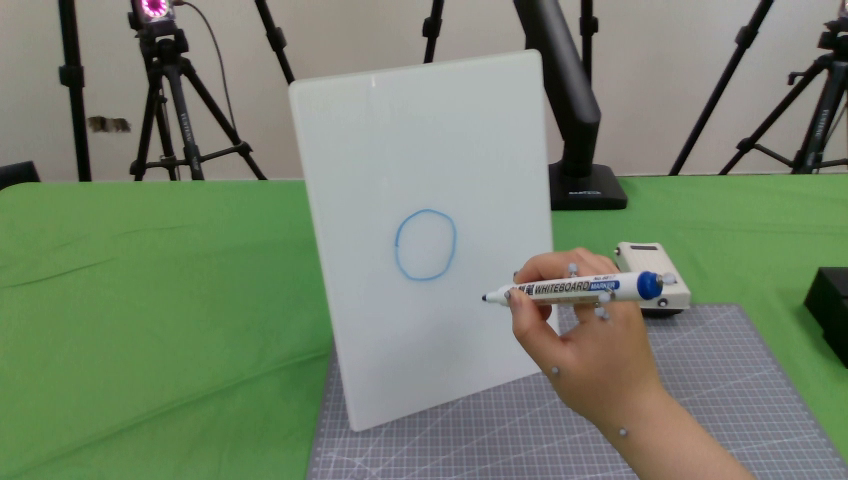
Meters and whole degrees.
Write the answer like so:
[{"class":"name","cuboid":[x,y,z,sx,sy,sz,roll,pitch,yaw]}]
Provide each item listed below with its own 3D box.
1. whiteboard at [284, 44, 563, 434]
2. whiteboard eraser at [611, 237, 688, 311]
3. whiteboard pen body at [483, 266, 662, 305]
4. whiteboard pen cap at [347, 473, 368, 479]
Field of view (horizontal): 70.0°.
[{"class":"whiteboard","cuboid":[-0.006,-0.013,0.583,0.218,0.307,0.142,-13,17,-18]},{"class":"whiteboard eraser","cuboid":[0.254,0.038,0.691,0.055,0.042,0.111,-1,30,2]},{"class":"whiteboard pen body","cuboid":[0.080,0.030,0.365,0.017,0.017,0.140,-27,7,-33]},{"class":"whiteboard pen cap","cuboid":[-0.056,0.199,0.469,0.018,0.018,0.033,9,53,14]}]
